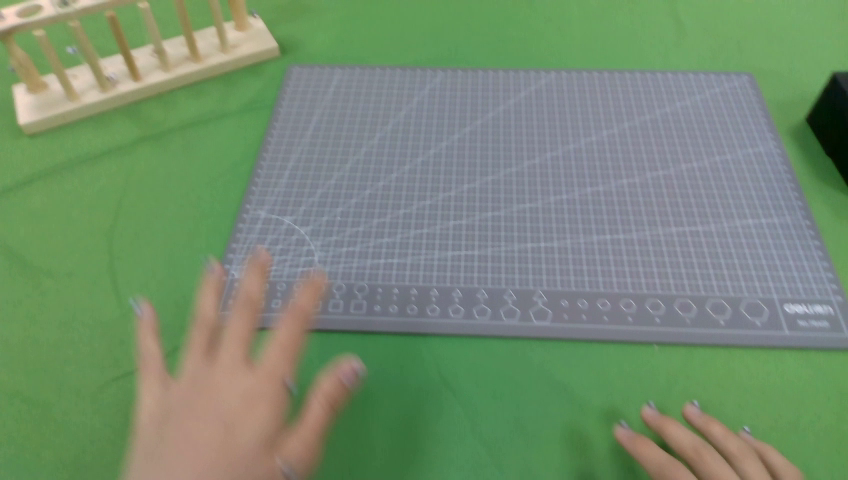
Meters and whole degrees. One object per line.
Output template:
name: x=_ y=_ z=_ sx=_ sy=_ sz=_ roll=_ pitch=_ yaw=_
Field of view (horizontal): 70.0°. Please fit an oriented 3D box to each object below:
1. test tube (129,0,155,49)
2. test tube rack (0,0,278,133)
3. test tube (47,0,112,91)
test tube: x=-0.264 y=-0.243 z=0.541 sx=0.017 sy=0.151 sz=0.017 roll=1 pitch=45 yaw=-1
test tube rack: x=-0.271 y=-0.191 z=0.565 sx=0.242 sy=0.086 sz=0.066 roll=-24 pitch=55 yaw=-16
test tube: x=-0.301 y=-0.189 z=0.509 sx=0.017 sy=0.152 sz=0.017 roll=0 pitch=52 yaw=1
